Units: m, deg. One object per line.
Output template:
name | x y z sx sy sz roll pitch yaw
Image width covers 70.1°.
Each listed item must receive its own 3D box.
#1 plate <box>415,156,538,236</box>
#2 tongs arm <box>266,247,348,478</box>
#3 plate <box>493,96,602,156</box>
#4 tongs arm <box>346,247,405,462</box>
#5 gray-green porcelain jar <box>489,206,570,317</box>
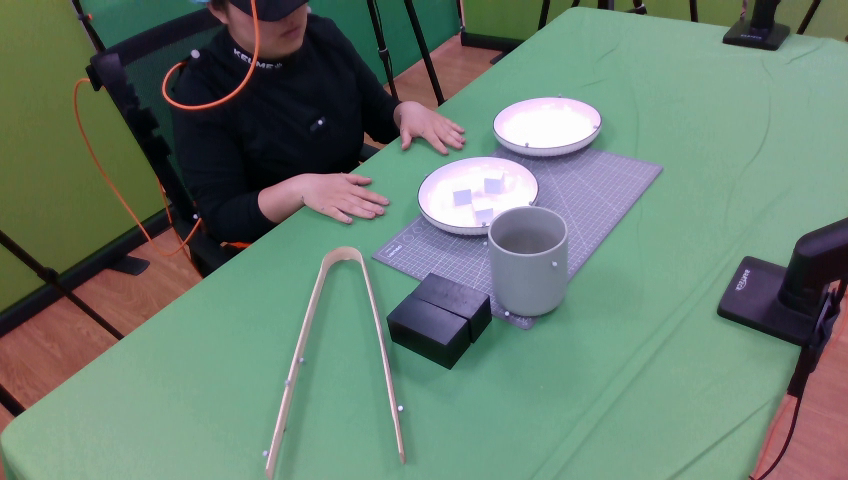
plate | 0.090 -0.072 1.034 0.207 0.039 0.206 -5 40 5
tongs arm | -0.151 0.143 0.831 0.051 0.026 0.383 -5 39 5
plate | 0.238 -0.218 1.180 0.209 0.038 0.208 -4 39 4
tongs arm | -0.069 0.132 0.832 0.028 0.028 0.384 -17 40 -3
gray-green porcelain jar | 0.145 0.034 0.829 0.106 0.127 0.105 -5 40 5
